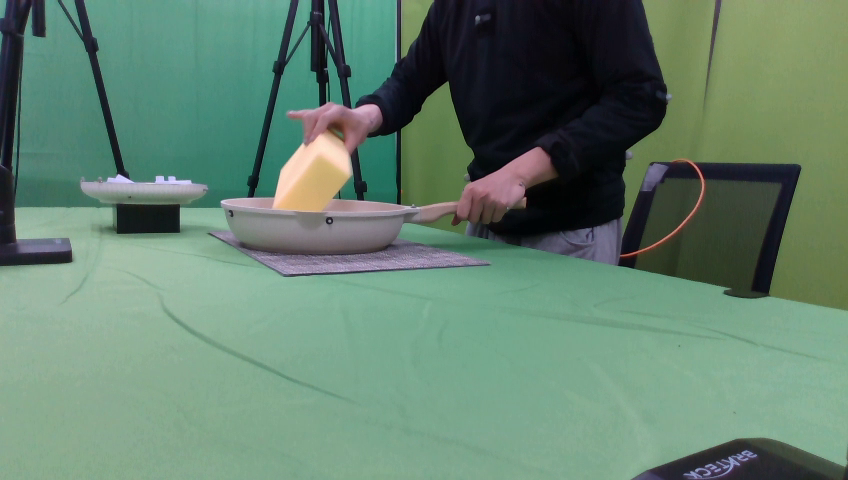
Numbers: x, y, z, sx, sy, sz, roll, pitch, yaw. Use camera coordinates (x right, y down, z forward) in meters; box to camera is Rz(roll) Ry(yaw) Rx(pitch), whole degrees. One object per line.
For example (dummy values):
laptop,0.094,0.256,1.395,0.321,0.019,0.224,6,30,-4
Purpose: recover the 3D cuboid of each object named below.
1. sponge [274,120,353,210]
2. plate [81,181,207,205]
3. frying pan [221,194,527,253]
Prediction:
sponge,-0.183,-0.115,0.996,0.061,0.118,0.206,38,12,-22
plate,-0.505,-0.086,1.100,0.208,0.039,0.207,2,6,0
frying pan,-0.070,-0.043,0.984,0.489,0.102,0.306,-7,9,-5
